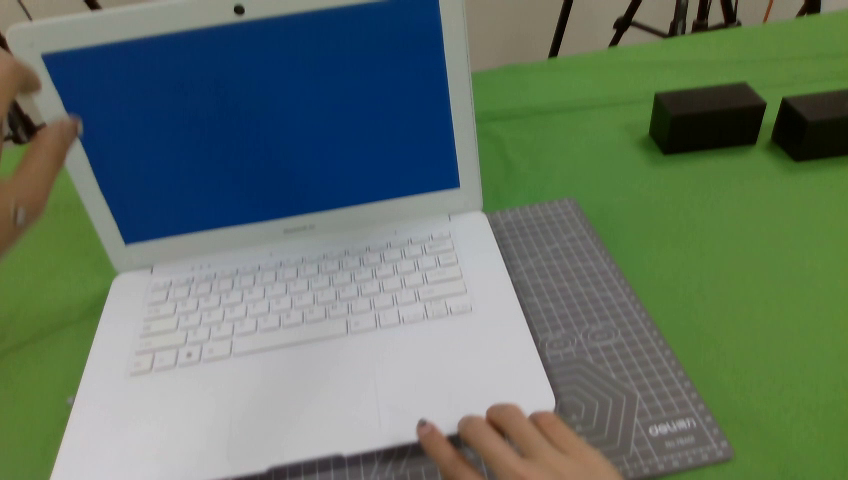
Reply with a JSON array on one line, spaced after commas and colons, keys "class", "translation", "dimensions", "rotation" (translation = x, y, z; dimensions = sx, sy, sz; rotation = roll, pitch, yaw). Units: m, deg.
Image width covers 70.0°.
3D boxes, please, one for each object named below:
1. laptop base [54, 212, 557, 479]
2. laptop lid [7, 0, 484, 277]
[{"class": "laptop base", "translation": [-0.095, 0.084, 0.495], "dimensions": [0.354, 0.023, 0.233], "rotation": [-10, 44, -3]}, {"class": "laptop lid", "translation": [-0.129, -0.092, 0.523], "dimensions": [0.357, 0.244, 0.013], "rotation": [-12, 31, -3]}]
